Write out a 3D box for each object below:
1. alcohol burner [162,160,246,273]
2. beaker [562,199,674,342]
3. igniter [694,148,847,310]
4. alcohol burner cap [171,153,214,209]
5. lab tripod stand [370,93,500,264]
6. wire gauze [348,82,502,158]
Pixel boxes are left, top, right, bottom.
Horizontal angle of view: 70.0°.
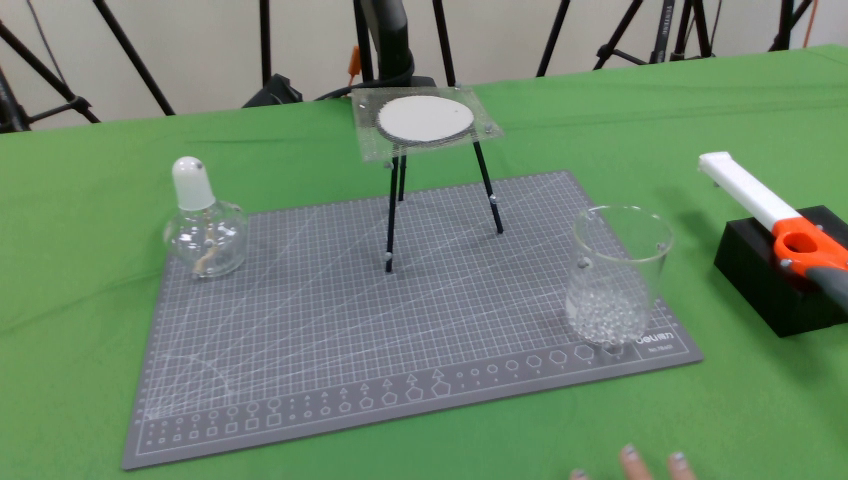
[{"bbox_3d":[-0.210,-0.027,0.568,0.078,0.120,0.077,0,41,1],"label":"alcohol burner"},{"bbox_3d":[0.151,0.026,0.495,0.074,0.101,0.083,-20,42,-20],"label":"beaker"},{"bbox_3d":[0.314,-0.010,0.518,0.057,0.025,0.273,-8,36,-5],"label":"igniter"},{"bbox_3d":[-0.211,-0.055,0.547,0.034,0.048,0.033,0,33,1],"label":"alcohol burner cap"},{"bbox_3d":[0.003,-0.065,0.588,0.148,0.132,0.147,-1,38,1],"label":"lab tripod stand"},{"bbox_3d":[-0.004,-0.114,0.542,0.122,0.011,0.123,-7,39,-8],"label":"wire gauze"}]
